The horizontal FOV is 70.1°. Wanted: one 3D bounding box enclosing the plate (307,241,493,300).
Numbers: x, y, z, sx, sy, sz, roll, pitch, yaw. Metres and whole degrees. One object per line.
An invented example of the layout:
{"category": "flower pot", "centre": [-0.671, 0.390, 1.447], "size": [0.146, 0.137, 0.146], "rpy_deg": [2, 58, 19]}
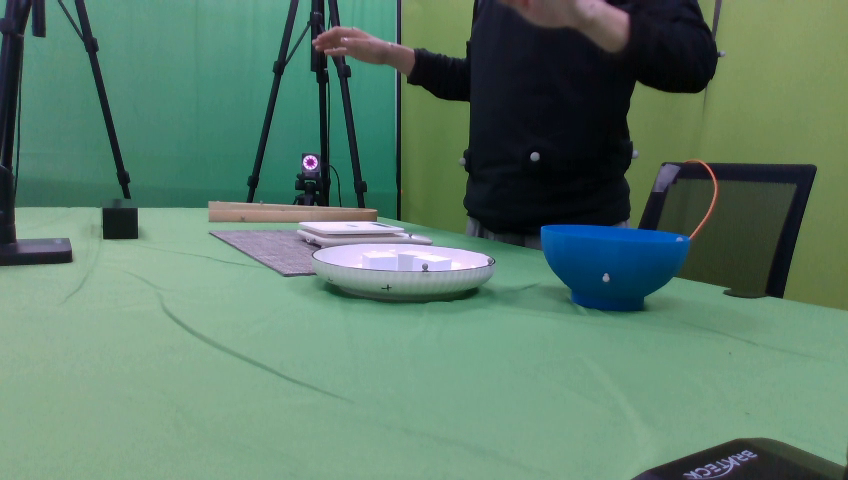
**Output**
{"category": "plate", "centre": [-0.027, 0.034, 0.684], "size": [0.208, 0.039, 0.207], "rpy_deg": [2, 7, 0]}

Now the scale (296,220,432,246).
{"category": "scale", "centre": [-0.101, -0.012, 1.017], "size": [0.202, 0.031, 0.148], "rpy_deg": [-1, 8, -30]}

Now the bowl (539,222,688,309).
{"category": "bowl", "centre": [0.196, 0.027, 0.641], "size": [0.151, 0.077, 0.151], "rpy_deg": [3, 7, 0]}

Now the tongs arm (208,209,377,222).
{"category": "tongs arm", "centre": [-0.280, -0.056, 1.355], "size": [0.389, 0.028, 0.028], "rpy_deg": [-1, 6, -28]}

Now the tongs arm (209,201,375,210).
{"category": "tongs arm", "centre": [-0.306, -0.071, 1.430], "size": [0.386, 0.026, 0.050], "rpy_deg": [1, 8, -15]}
